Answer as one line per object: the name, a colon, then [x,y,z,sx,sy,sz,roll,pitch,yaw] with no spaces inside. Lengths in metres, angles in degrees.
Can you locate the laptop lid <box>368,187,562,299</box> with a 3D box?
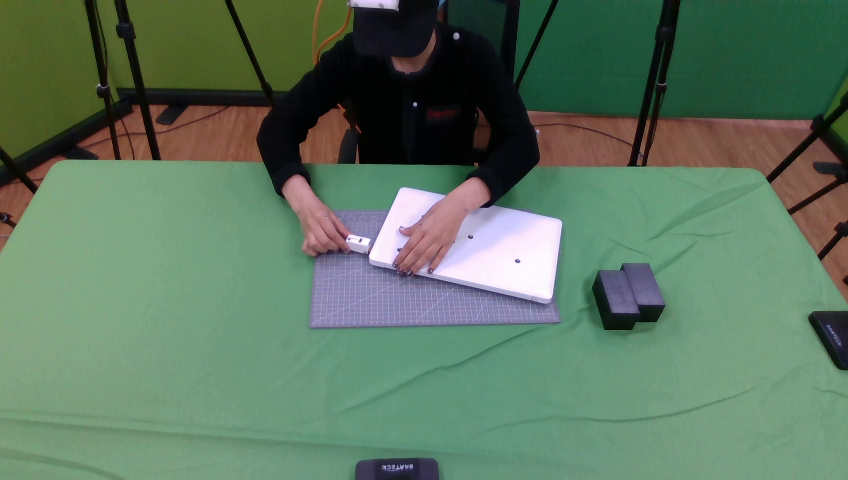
laptop lid: [0.091,-0.004,1.199,0.356,0.013,0.240,13,44,9]

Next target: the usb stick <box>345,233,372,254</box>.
usb stick: [-0.121,0.009,1.167,0.059,0.027,0.021,16,48,7]

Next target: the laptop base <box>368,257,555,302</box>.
laptop base: [0.089,0.005,1.205,0.354,0.023,0.234,12,42,8]
